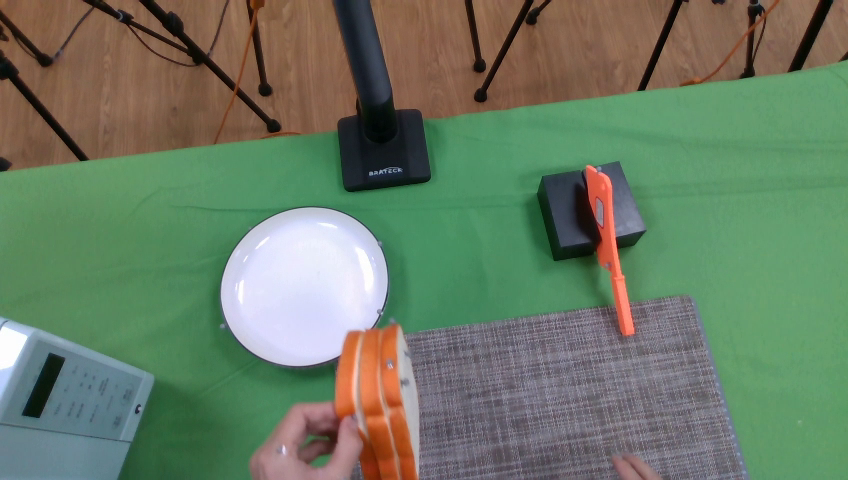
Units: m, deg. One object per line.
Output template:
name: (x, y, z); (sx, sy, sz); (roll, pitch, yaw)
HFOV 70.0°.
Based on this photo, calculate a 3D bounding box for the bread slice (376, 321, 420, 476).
bread slice: (-0.024, 0.145, 0.576); (0.018, 0.135, 0.106); (-9, 38, 2)

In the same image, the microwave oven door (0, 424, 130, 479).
microwave oven door: (-0.393, 0.340, 0.523); (0.039, 0.245, 0.353); (11, 70, 6)

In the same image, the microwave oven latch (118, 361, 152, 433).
microwave oven latch: (-0.339, 0.178, 0.693); (0.030, 0.030, 0.078); (14, 71, 6)

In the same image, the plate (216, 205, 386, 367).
plate: (-0.149, 0.057, 0.756); (0.208, 0.039, 0.206); (0, 69, 0)

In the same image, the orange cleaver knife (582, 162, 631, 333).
orange cleaver knife: (0.221, 0.008, 0.742); (0.012, 0.077, 0.212); (-13, 99, -4)

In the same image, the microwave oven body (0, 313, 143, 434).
microwave oven body: (-0.526, 0.274, 0.555); (0.326, 0.262, 0.439); (12, 70, 5)
